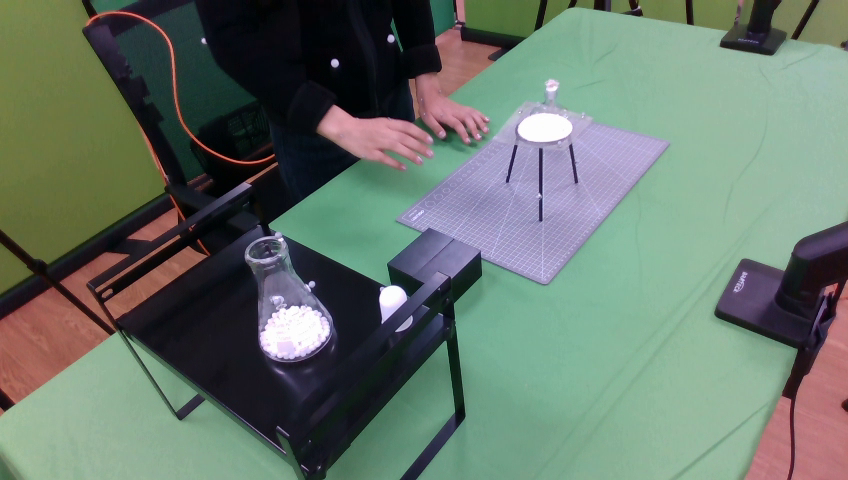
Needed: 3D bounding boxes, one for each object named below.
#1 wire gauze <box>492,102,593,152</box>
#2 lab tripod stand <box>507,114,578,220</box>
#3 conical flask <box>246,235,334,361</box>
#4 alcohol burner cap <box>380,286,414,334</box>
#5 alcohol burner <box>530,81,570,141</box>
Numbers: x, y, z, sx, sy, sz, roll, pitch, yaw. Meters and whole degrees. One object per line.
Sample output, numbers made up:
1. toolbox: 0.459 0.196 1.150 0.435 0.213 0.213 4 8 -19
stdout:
1. wire gauze: 0.190 -0.180 0.964 0.120 0.011 0.125 19 47 27
2. lab tripod stand: 0.198 -0.128 1.005 0.148 0.132 0.147 -3 42 3
3. conical flask: -0.134 0.053 0.576 0.075 0.122 0.075 -5 40 4
4. alcohol burner cap: -0.029 0.068 0.605 0.034 0.048 0.033 -5 40 4
5. alcohol burner: 0.241 -0.251 1.159 0.078 0.119 0.077 -3 42 4
